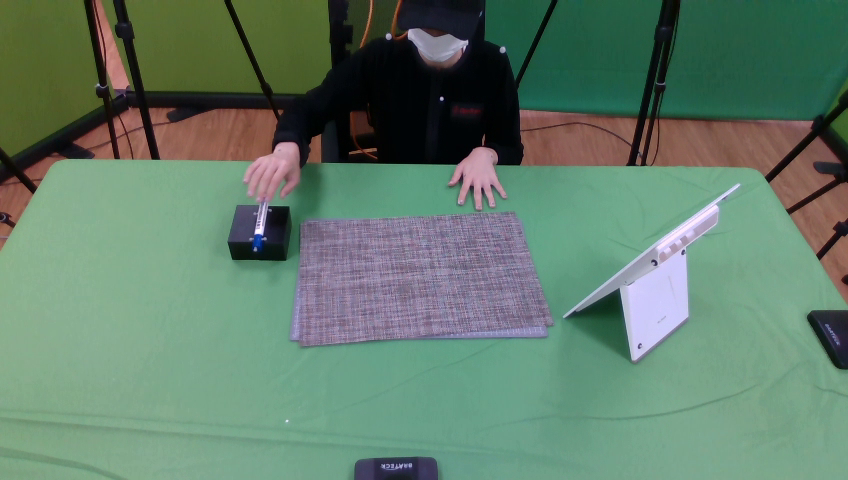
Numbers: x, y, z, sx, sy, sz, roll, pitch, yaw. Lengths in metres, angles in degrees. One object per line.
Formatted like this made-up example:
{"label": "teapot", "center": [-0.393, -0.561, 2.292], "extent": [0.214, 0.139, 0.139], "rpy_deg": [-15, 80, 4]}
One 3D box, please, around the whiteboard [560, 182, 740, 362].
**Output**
{"label": "whiteboard", "center": [0.406, 0.075, 1.001], "extent": [0.217, 0.306, 0.143], "rpy_deg": [-28, 73, -28]}

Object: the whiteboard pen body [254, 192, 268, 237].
{"label": "whiteboard pen body", "center": [-0.309, -0.040, 1.146], "extent": [0.017, 0.017, 0.140], "rpy_deg": [-1, 46, -5]}

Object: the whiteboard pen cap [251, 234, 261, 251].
{"label": "whiteboard pen cap", "center": [-0.305, 0.003, 1.103], "extent": [0.018, 0.018, 0.033], "rpy_deg": [-2, 47, -6]}
